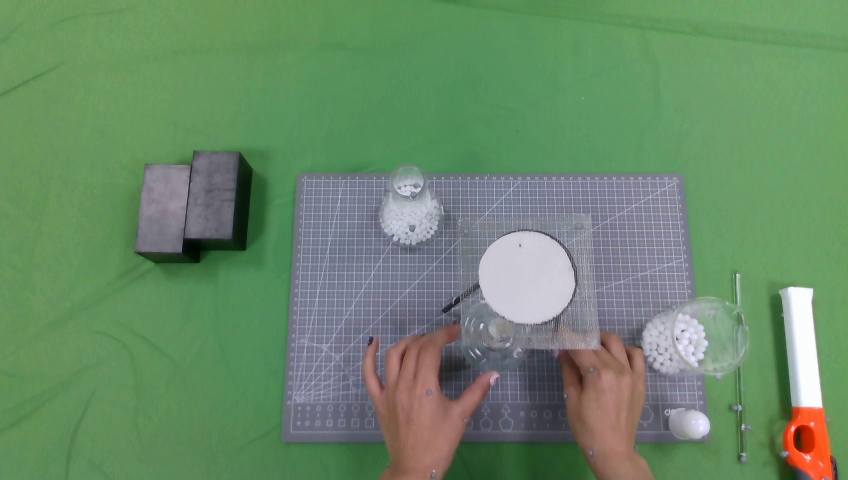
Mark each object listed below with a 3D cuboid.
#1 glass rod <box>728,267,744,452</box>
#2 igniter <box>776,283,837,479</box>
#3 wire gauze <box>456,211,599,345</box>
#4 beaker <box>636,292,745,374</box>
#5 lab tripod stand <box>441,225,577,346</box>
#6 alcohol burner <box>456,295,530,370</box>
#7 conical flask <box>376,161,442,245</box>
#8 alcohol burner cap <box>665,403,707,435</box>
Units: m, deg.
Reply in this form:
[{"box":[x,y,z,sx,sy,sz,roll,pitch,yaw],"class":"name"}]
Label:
[{"box":[0.340,0.126,0.659,0.008,0.008,0.198,4,76,0],"class":"glass rod"},{"box":[0.399,0.182,0.636,0.057,0.025,0.275,5,76,-9],"class":"igniter"},{"box":[0.092,0.033,0.543,0.125,0.011,0.121,0,77,0],"class":"wire gauze"},{"box":[0.268,0.096,0.616,0.084,0.100,0.073,-36,79,-9],"class":"beaker"},{"box":[0.090,0.047,0.608,0.148,0.132,0.147,0,78,1],"class":"lab tripod stand"},{"box":[0.071,0.090,0.609,0.078,0.120,0.077,0,74,1],"class":"alcohol burner"},{"box":[-0.017,-0.044,0.636,0.075,0.122,0.075,0,75,0],"class":"conical flask"},{"box":[0.273,0.185,0.624,0.034,0.048,0.033,0,75,0],"class":"alcohol burner cap"}]
